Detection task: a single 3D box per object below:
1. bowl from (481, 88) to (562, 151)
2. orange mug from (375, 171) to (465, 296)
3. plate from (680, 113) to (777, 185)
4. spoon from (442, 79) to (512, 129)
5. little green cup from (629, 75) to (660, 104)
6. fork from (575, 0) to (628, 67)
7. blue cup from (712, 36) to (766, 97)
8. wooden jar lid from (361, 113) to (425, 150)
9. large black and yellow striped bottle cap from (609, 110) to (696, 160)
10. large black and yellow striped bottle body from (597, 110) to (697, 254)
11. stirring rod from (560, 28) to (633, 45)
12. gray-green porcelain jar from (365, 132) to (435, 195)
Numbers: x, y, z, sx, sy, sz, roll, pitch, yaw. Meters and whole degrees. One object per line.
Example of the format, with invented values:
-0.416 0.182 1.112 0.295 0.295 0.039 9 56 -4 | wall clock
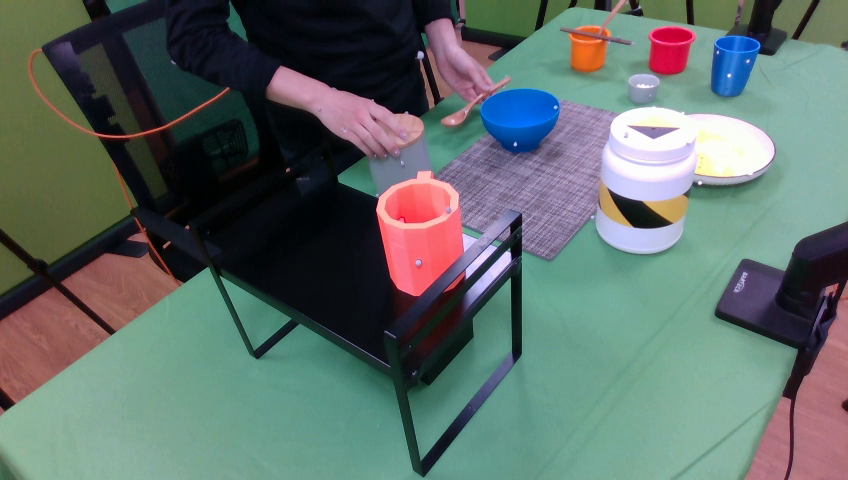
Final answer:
0.187 -0.223 1.161 0.151 0.077 0.150 -4 40 4 | bowl
0.000 -0.016 0.661 0.083 0.101 0.125 -2 45 8 | orange mug
0.506 -0.158 1.073 0.209 0.038 0.208 -4 40 4 | plate
0.113 -0.281 1.242 0.194 0.022 0.041 -41 44 -16 | spoon
0.457 -0.314 1.260 0.061 0.039 0.061 -4 40 4 | little green cup
0.413 -0.481 1.377 0.207 0.019 0.028 -56 43 12 | fork
0.627 -0.350 1.227 0.092 0.100 0.092 -4 39 4 | blue cup
-0.051 -0.178 1.014 0.108 0.021 0.108 -6 40 6 | wooden jar lid
0.319 -0.150 0.849 0.115 0.019 0.114 -4 39 3 | large black and yellow striped bottle cap
0.331 -0.086 0.904 0.131 0.185 0.130 -5 41 4 | large black and yellow striped bottle body
0.381 -0.452 1.345 0.174 0.006 0.014 26 49 33 | stirring rod
-0.039 -0.130 1.054 0.106 0.127 0.105 -8 39 7 | gray-green porcelain jar
